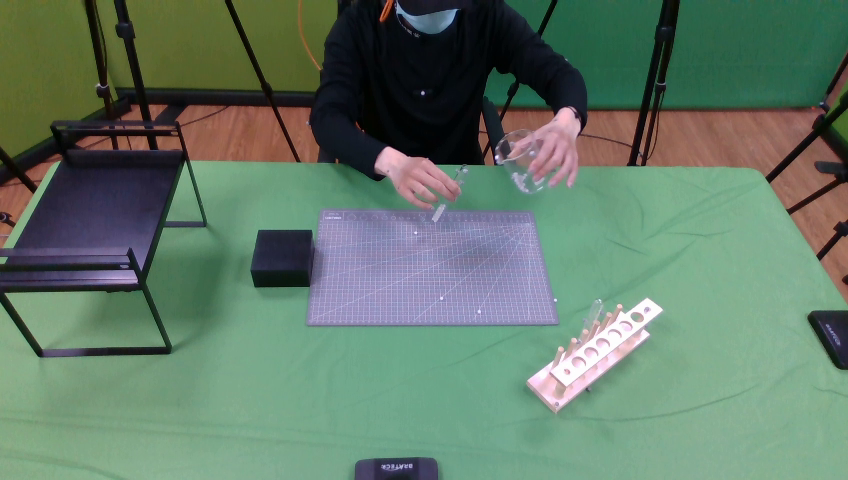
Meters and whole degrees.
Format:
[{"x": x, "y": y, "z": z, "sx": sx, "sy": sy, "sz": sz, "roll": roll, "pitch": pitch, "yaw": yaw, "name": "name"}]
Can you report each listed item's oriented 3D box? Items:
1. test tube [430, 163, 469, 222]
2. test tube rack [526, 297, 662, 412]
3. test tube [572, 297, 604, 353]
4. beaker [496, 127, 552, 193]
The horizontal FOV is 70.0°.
[{"x": 0.047, "y": -0.087, "z": 1.152, "sx": 0.017, "sy": 0.150, "sz": 0.017, "roll": 17, "pitch": 42, "yaw": -16, "name": "test tube"}, {"x": 0.284, "y": 0.176, "z": 1.007, "sx": 0.242, "sy": 0.085, "sz": 0.066, "roll": -29, "pitch": 54, "yaw": -27, "name": "test tube rack"}, {"x": 0.263, "y": 0.141, "z": 0.977, "sx": 0.017, "sy": 0.151, "sz": 0.017, "roll": 2, "pitch": 47, "yaw": -2, "name": "test tube"}, {"x": 0.182, "y": -0.139, "z": 1.095, "sx": 0.084, "sy": 0.101, "sz": 0.073, "roll": -45, "pitch": 40, "yaw": -6, "name": "beaker"}]
